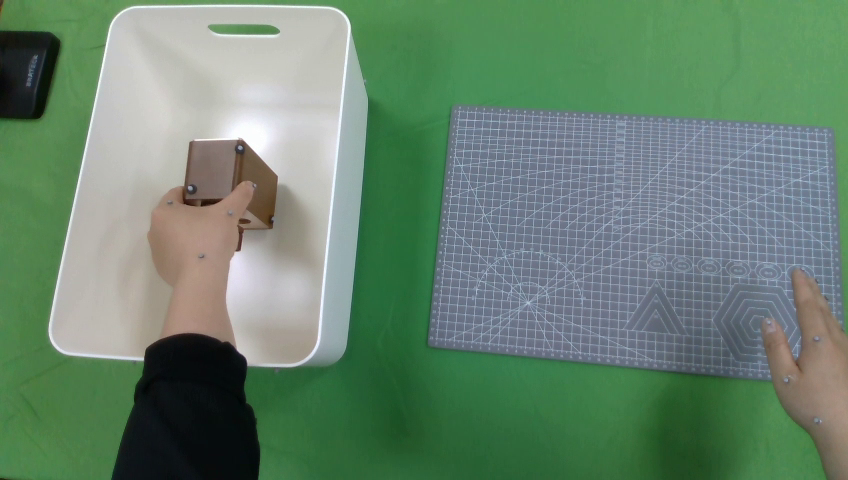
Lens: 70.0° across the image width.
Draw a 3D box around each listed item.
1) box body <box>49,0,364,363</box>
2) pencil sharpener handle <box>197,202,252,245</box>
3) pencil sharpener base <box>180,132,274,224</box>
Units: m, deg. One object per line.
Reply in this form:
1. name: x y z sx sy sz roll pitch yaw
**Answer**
1. box body: -0.206 -0.052 0.656 0.254 0.161 0.362 2 77 4
2. pencil sharpener handle: -0.210 -0.017 0.642 0.036 0.068 0.030 -8 73 30
3. pencil sharpener base: -0.214 -0.062 0.668 0.061 0.107 0.076 -1 75 6
